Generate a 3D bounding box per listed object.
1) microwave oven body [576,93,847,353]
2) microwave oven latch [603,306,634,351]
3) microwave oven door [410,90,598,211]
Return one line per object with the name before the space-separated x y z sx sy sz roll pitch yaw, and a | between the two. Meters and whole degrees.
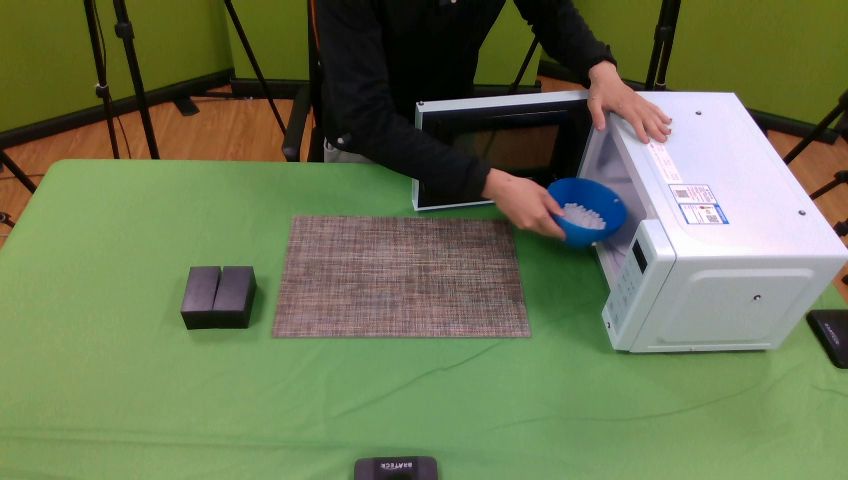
microwave oven body | 0.475 -0.041 1.109 0.326 0.261 0.438 -1 45 -4
microwave oven latch | 0.332 0.153 1.044 0.030 0.029 0.078 0 45 -3
microwave oven door | 0.153 -0.176 1.208 0.356 0.245 0.039 -7 46 -11
